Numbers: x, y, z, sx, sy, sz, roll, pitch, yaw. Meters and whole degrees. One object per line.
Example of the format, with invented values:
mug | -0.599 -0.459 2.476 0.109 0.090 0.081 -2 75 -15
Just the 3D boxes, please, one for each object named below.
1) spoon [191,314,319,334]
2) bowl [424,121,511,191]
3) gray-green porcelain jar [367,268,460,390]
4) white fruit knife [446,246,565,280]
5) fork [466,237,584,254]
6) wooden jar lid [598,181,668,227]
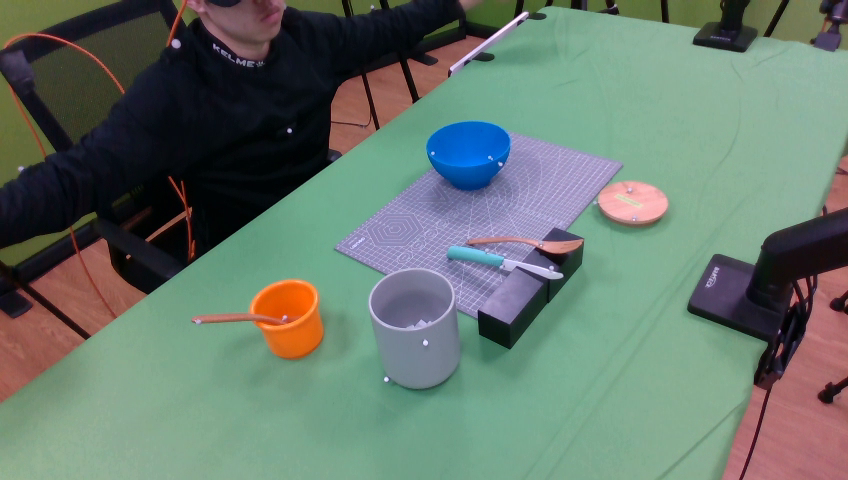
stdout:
spoon | -0.213 0.105 0.781 0.041 0.195 0.021 29 97 37
bowl | 0.080 -0.141 1.074 0.151 0.077 0.150 -4 40 4
gray-green porcelain jar | -0.009 0.116 0.754 0.106 0.127 0.105 -4 41 4
white fruit knife | 0.111 0.033 0.868 0.205 0.027 0.016 11 44 40
fork | 0.142 0.005 0.894 0.205 0.019 0.028 4 43 41
wooden jar lid | 0.340 -0.058 0.989 0.108 0.021 0.108 -5 41 5
